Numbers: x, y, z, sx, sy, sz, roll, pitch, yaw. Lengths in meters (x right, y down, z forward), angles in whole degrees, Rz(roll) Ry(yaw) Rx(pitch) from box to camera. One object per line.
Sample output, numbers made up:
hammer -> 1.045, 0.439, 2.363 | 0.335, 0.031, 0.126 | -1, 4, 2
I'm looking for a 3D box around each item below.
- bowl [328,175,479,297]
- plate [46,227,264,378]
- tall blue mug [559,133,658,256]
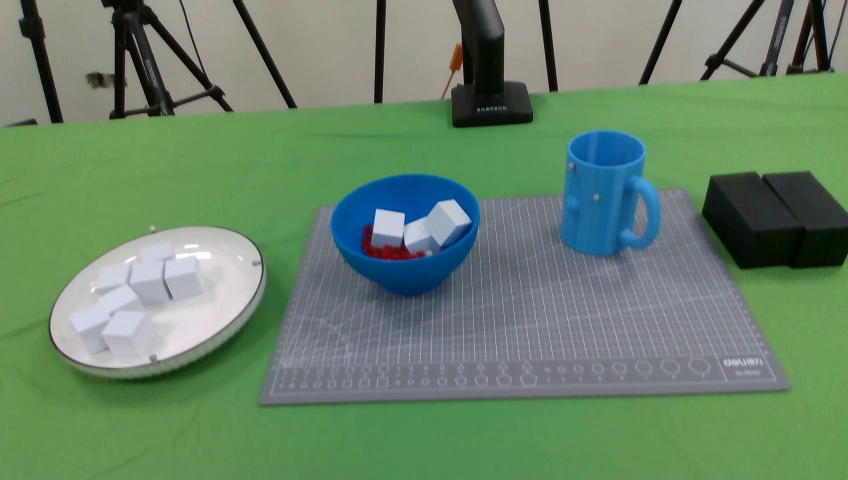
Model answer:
bowl -> -0.018, 0.005, 0.623 | 0.151, 0.077, 0.150 | -3, 38, 3
plate -> -0.265, 0.062, 0.617 | 0.209, 0.038, 0.207 | -2, 38, 2
tall blue mug -> 0.198, -0.043, 0.635 | 0.106, 0.109, 0.077 | 18, 43, 26
